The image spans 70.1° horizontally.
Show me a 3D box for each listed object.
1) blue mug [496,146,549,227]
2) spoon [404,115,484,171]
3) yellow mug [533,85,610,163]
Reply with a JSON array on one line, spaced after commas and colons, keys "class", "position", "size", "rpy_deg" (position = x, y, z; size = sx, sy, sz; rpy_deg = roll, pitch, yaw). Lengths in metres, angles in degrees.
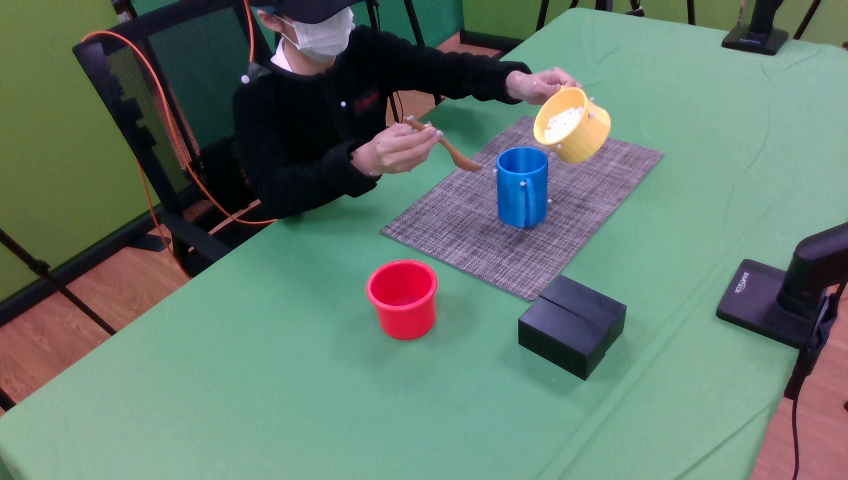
[{"class": "blue mug", "position": [0.162, -0.076, 0.969], "size": [0.082, 0.106, 0.116], "rpy_deg": [-9, 40, -1]}, {"class": "spoon", "position": [0.028, -0.134, 0.850], "size": [0.041, 0.195, 0.021], "rpy_deg": [11, 79, 37]}, {"class": "yellow mug", "position": [0.231, -0.193, 0.956], "size": [0.099, 0.064, 0.130], "rpy_deg": [-28, 45, 41]}]
